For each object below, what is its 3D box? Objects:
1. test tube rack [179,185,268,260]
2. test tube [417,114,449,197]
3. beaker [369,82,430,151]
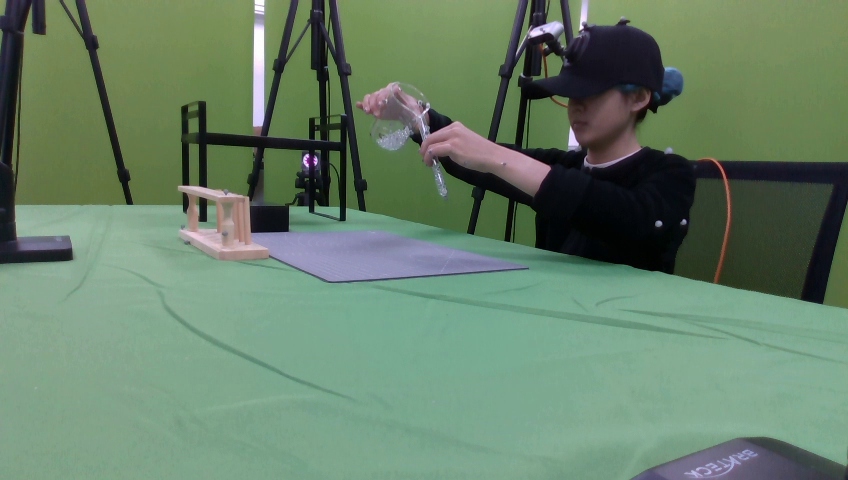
[{"bbox_3d":[-0.303,-0.031,0.898,0.067,0.085,0.241,-2,9,-33],"label":"test tube rack"},{"bbox_3d":[0.014,-0.138,0.981,0.017,0.150,0.017,-15,-17,-4],"label":"test tube"},{"bbox_3d":[-0.044,-0.209,1.047,0.074,0.100,0.083,-7,57,-42],"label":"beaker"}]
